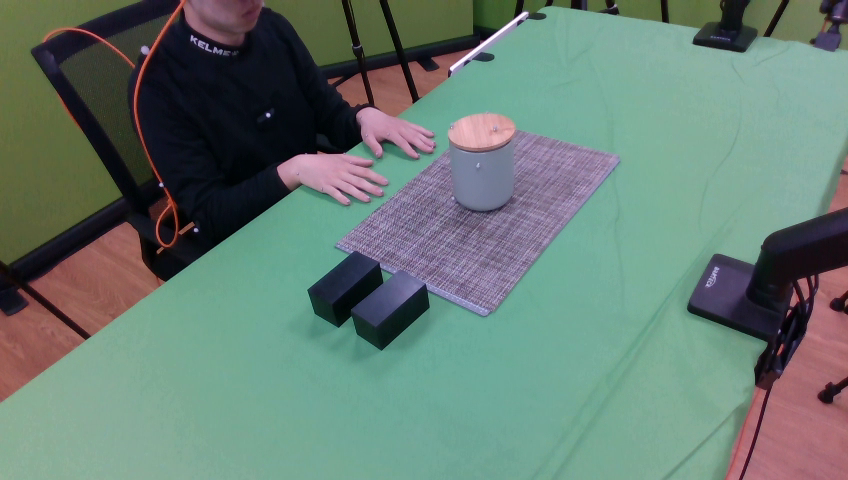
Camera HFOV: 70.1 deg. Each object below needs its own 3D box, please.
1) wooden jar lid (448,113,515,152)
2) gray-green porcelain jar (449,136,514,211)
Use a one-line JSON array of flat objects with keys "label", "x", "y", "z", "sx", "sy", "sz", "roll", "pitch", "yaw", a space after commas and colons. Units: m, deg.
[{"label": "wooden jar lid", "x": 0.092, "y": -0.168, "z": 0.967, "sx": 0.108, "sy": 0.021, "sz": 0.108, "roll": -6, "pitch": 39, "yaw": 5}, {"label": "gray-green porcelain jar", "x": 0.098, "y": -0.120, "z": 1.008, "sx": 0.106, "sy": 0.127, "sz": 0.105, "roll": -4, "pitch": 41, "yaw": 4}]
